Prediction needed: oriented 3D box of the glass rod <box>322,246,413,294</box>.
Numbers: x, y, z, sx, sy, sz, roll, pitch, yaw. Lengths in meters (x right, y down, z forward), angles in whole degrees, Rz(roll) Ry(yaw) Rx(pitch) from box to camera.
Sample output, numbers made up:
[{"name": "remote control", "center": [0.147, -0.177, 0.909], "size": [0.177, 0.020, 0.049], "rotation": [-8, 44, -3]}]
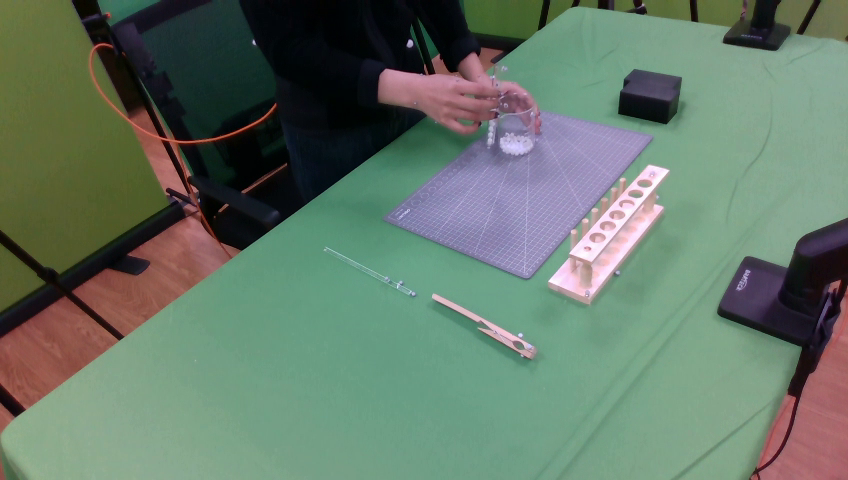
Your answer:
[{"name": "glass rod", "center": [-0.093, 0.045, 0.956], "size": [0.198, 0.008, 0.008], "rotation": [24, 51, 33]}]

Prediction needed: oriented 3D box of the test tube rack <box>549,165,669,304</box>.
[{"name": "test tube rack", "center": [0.279, -0.018, 0.902], "size": [0.066, 0.085, 0.243], "rotation": [24, 50, 33]}]

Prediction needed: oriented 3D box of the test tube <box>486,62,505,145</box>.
[{"name": "test tube", "center": [0.118, -0.222, 1.002], "size": [0.017, 0.150, 0.017], "rotation": [1, 42, -1]}]

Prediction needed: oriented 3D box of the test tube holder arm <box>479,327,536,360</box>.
[{"name": "test tube holder arm", "center": [0.110, 0.134, 0.805], "size": [0.087, 0.015, 0.010], "rotation": [29, 82, 36]}]

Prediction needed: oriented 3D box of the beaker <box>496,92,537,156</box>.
[{"name": "beaker", "center": [0.172, -0.214, 1.135], "size": [0.084, 0.101, 0.073], "rotation": [-37, 49, -26]}]

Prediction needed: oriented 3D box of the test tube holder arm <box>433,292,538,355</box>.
[{"name": "test tube holder arm", "center": [0.081, 0.112, 0.832], "size": [0.177, 0.015, 0.013], "rotation": [28, 82, 36]}]
